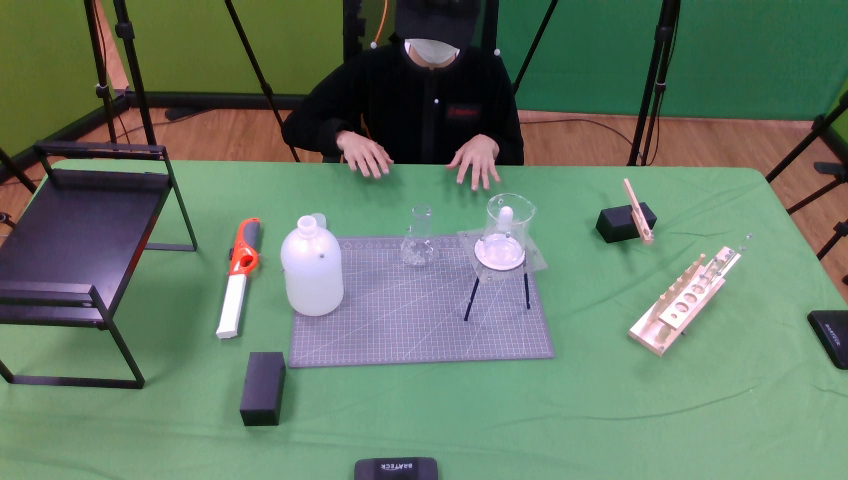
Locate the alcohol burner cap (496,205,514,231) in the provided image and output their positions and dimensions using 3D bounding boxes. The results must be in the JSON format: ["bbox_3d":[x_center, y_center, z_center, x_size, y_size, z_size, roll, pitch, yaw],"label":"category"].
[{"bbox_3d":[0.153,-0.045,1.131,0.034,0.048,0.033,2,40,-1],"label":"alcohol burner cap"}]

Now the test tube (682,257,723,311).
[{"bbox_3d":[0.474,0.080,1.037,0.017,0.151,0.017,1,50,-1],"label":"test tube"}]

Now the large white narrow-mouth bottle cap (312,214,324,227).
[{"bbox_3d":[-0.219,-0.033,1.214,0.038,0.024,0.037,2,46,-2],"label":"large white narrow-mouth bottle cap"}]

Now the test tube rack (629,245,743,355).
[{"bbox_3d":[0.474,0.095,1.091,0.242,0.085,0.066,-34,56,-31],"label":"test tube rack"}]

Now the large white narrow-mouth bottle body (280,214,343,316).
[{"bbox_3d":[-0.190,0.035,1.025,0.102,0.195,0.101,2,46,-2],"label":"large white narrow-mouth bottle body"}]

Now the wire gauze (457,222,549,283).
[{"bbox_3d":[0.131,0.016,1.017,0.121,0.011,0.124,-10,44,-15],"label":"wire gauze"}]

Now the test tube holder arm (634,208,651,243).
[{"bbox_3d":[0.428,-0.030,1.189,0.010,0.015,0.087,2,47,-2],"label":"test tube holder arm"}]

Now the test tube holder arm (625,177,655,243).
[{"bbox_3d":[0.433,-0.063,1.220,0.013,0.015,0.177,1,47,-3],"label":"test tube holder arm"}]

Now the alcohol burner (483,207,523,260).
[{"bbox_3d":[0.152,-0.018,1.156,0.078,0.120,0.077,0,47,0],"label":"alcohol burner"}]

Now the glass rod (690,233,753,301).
[{"bbox_3d":[0.507,0.053,1.041,0.008,0.200,0.008,5,51,-6],"label":"glass rod"}]

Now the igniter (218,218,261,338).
[{"bbox_3d":[-0.336,0.060,1.111,0.057,0.025,0.274,-8,46,4],"label":"igniter"}]

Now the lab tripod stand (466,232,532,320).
[{"bbox_3d":[0.125,0.059,1.065,0.148,0.132,0.147,1,45,0],"label":"lab tripod stand"}]

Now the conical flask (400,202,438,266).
[{"bbox_3d":[-0.007,-0.014,1.135,0.075,0.122,0.075,2,46,-2],"label":"conical flask"}]

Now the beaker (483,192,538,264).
[{"bbox_3d":[0.136,-0.017,0.980,0.084,0.101,0.073,-6,45,-9],"label":"beaker"}]
